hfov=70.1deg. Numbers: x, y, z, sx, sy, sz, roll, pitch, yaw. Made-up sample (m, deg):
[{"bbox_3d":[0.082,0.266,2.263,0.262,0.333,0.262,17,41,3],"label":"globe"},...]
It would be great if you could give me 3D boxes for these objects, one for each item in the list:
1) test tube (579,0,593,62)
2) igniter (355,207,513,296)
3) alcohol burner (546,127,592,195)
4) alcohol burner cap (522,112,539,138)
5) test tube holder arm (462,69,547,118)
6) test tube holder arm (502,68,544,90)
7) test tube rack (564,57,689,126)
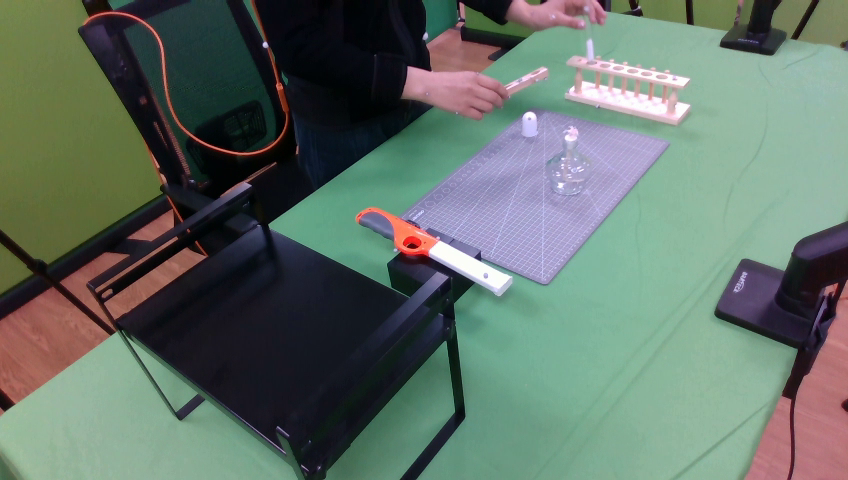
[{"bbox_3d":[0.314,-0.417,1.173,0.017,0.151,0.017,-12,38,10],"label":"test tube"},{"bbox_3d":[0.006,0.010,0.885,0.274,0.025,0.057,27,53,30],"label":"igniter"},{"bbox_3d":[0.246,-0.137,1.023,0.078,0.119,0.077,-4,38,4],"label":"alcohol burner"},{"bbox_3d":[0.210,-0.230,1.195,0.034,0.048,0.033,-5,42,5],"label":"alcohol burner cap"},{"bbox_3d":[0.146,-0.264,1.089,0.179,0.015,0.013,-29,35,-12],"label":"test tube holder arm"},{"bbox_3d":[0.182,-0.288,1.102,0.088,0.015,0.010,-28,35,-11],"label":"test tube holder arm"},{"bbox_3d":[0.411,-0.311,1.230,0.240,0.085,0.067,24,49,32],"label":"test tube rack"}]
